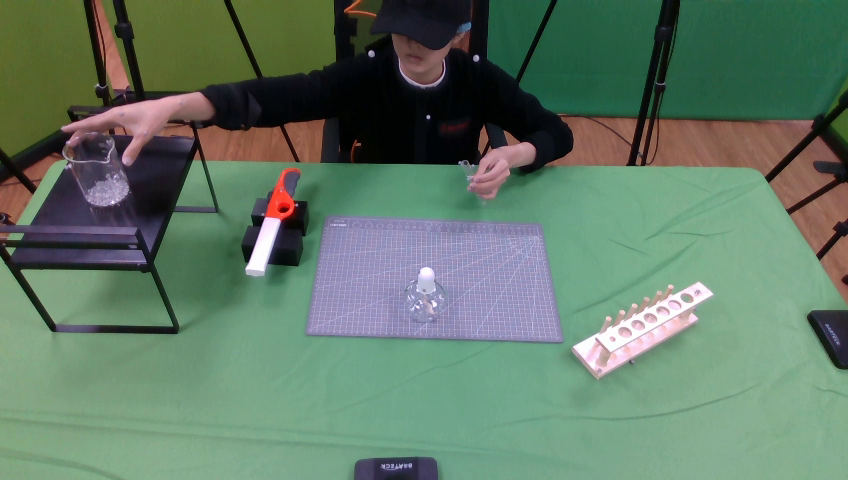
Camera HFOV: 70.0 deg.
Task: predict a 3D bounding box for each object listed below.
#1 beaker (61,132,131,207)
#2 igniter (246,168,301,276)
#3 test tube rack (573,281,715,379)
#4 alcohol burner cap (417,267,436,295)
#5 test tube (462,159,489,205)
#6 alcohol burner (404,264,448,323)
[{"bbox_3d":[-0.512,-0.107,0.960,0.083,0.101,0.074,29,51,22],"label":"beaker"},{"bbox_3d":[-0.282,-0.044,1.149,0.057,0.025,0.275,8,48,-1],"label":"igniter"},{"bbox_3d":[0.378,0.140,1.038,0.242,0.085,0.066,-22,51,-23],"label":"test tube rack"},{"bbox_3d":[0.004,0.066,1.019,0.034,0.048,0.033,0,47,1],"label":"alcohol burner cap"},{"bbox_3d":[0.104,-0.112,1.207,0.017,0.151,0.017,-10,58,17],"label":"test tube"},{"bbox_3d":[0.003,0.087,1.042,0.078,0.120,0.077,1,45,0],"label":"alcohol burner"}]
